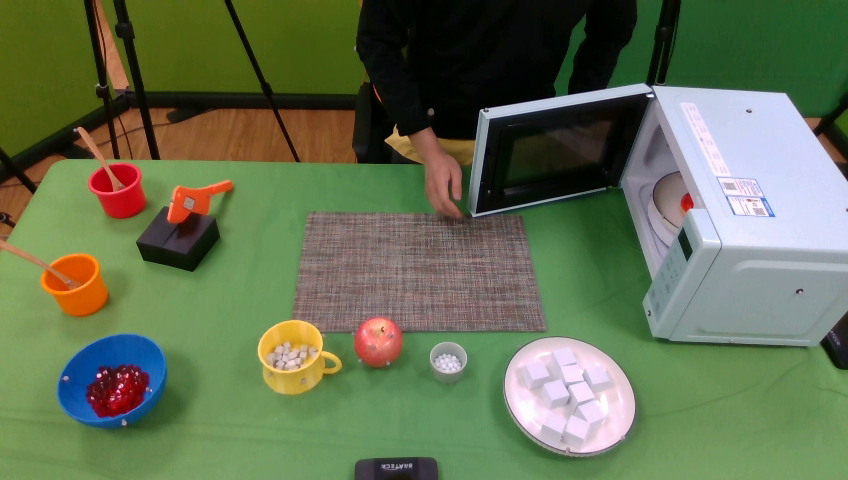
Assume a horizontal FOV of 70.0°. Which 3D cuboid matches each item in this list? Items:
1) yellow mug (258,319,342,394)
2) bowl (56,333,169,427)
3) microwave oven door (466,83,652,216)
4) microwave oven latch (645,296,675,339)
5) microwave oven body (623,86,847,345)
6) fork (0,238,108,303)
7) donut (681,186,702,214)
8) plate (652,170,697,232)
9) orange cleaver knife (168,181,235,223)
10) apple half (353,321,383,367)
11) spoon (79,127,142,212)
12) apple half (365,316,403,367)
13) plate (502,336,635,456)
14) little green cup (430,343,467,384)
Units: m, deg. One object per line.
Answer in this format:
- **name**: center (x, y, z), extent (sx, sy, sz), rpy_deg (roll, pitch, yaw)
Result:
- **yellow mug**: center (-0.195, 0.188, 0.972), extent (0.131, 0.064, 0.099), rpy_deg (9, 47, 4)
- **bowl**: center (-0.456, 0.223, 0.912), extent (0.151, 0.077, 0.150), rpy_deg (3, 46, -2)
- **microwave oven door**: center (0.266, -0.181, 1.214), extent (0.356, 0.245, 0.039), rpy_deg (-12, 49, -15)
- **microwave oven latch**: center (0.412, 0.134, 1.061), extent (0.030, 0.029, 0.078), rpy_deg (3, 45, 0)
- **microwave oven body**: center (0.567, -0.053, 1.118), extent (0.326, 0.261, 0.439), rpy_deg (2, 45, -1)
- **fork**: center (-0.633, 0.048, 1.017), extent (0.208, 0.018, 0.028), rpy_deg (40, 41, -27)
- **donut**: center (0.553, -0.067, 1.184), extent (0.099, 0.048, 0.098), rpy_deg (2, 49, -2)
- **plate**: center (0.555, -0.059, 1.196), extent (0.209, 0.038, 0.208), rpy_deg (2, 46, -2)
- **orange cleaver knife**: center (-0.436, -0.078, 1.196), extent (0.012, 0.077, 0.211), rpy_deg (16, 15, 10)
- **apple half**: center (-0.097, 0.177, 0.984), extent (0.033, 0.081, 0.081), rpy_deg (-16, 49, -25)
- **spoon**: center (-0.624, -0.140, 1.203), extent (0.041, 0.021, 0.194), rpy_deg (-33, 100, -26)
- **apple half**: center (-0.063, 0.165, 1.000), extent (0.053, 0.075, 0.080), rpy_deg (-16, 45, -24)
- **plate**: center (0.225, 0.248, 0.963), extent (0.208, 0.039, 0.206), rpy_deg (2, 46, -2)
- **little green cup**: center (0.039, 0.203, 0.994), extent (0.061, 0.039, 0.061), rpy_deg (2, 46, -2)
